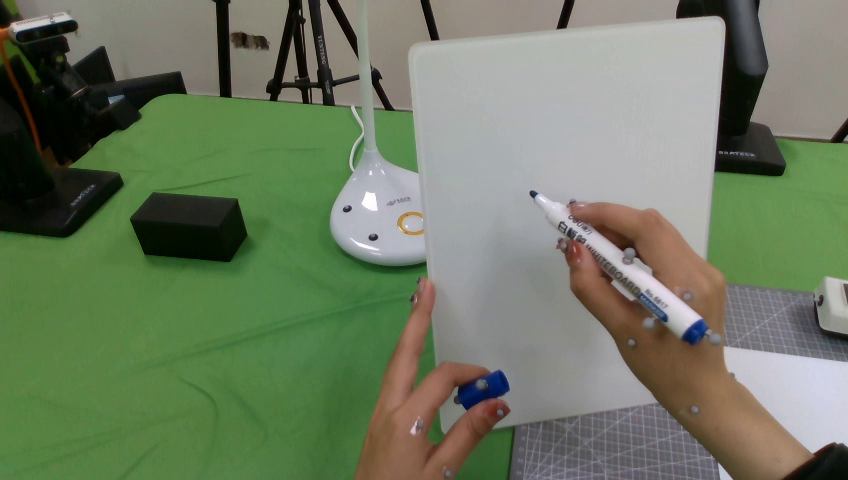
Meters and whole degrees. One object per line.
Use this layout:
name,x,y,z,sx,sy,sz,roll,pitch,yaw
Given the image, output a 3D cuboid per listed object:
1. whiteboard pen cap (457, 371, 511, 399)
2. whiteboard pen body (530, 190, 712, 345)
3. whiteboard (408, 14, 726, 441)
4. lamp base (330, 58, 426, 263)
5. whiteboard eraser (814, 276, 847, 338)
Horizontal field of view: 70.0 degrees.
whiteboard pen cap,0.039,0.094,0.398,0.033,0.018,0.018,-11,35,23
whiteboard pen body,0.107,0.009,0.354,0.017,0.017,0.139,-23,49,-23
whiteboard,0.101,-0.017,0.507,0.217,0.307,0.143,-7,21,-5
lamp base,-0.038,-0.093,0.657,0.161,0.182,0.177,-26,43,-26
whiteboard eraser,0.418,0.071,0.547,0.112,0.042,0.055,11,40,16
